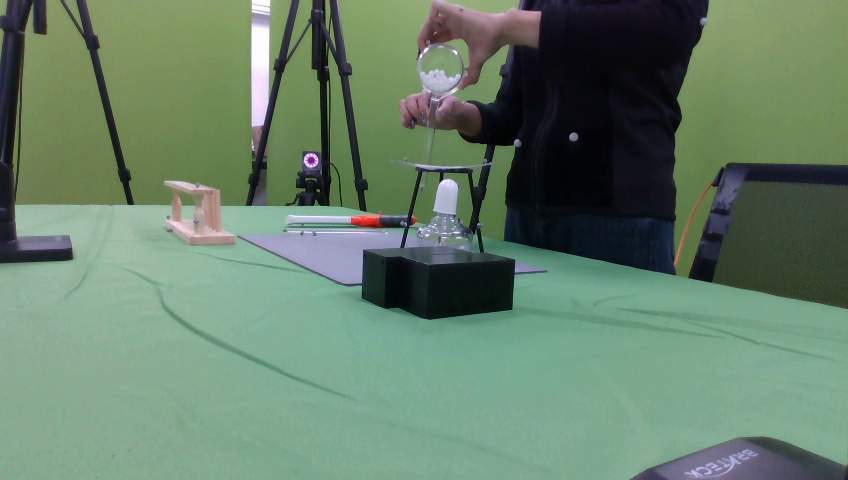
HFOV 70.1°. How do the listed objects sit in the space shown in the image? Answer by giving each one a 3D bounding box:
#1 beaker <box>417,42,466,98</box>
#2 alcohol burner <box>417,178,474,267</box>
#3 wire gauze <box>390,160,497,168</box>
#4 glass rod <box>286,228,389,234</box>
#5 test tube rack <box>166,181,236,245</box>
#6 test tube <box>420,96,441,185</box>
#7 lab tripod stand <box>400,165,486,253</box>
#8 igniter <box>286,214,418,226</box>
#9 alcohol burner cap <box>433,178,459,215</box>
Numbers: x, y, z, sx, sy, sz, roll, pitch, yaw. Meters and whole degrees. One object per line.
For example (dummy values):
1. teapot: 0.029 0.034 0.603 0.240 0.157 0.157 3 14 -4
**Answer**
1. beaker: 0.026 -0.259 0.922 0.074 0.084 0.100 12 12 1
2. alcohol burner: 0.029 -0.024 0.810 0.078 0.119 0.078 1 8 0
3. wire gauze: 0.027 -0.115 0.919 0.122 0.011 0.124 -4 10 -34
4. glass rod: -0.154 -0.016 1.101 0.201 0.008 0.008 1 6 -31
5. test tube rack: -0.383 -0.051 1.024 0.067 0.085 0.241 -2 9 -31
6. test tube: 0.008 -0.162 0.999 0.017 0.150 0.017 9 20 -3
7. lab tripod stand: 0.027 -0.049 0.930 0.148 0.131 0.148 2 9 0
8. igniter: -0.146 -0.043 1.263 0.278 0.025 0.057 -1 -2 -24
9. alcohol burner cap: 0.031 -0.059 0.806 0.034 0.048 0.034 9 10 -1
